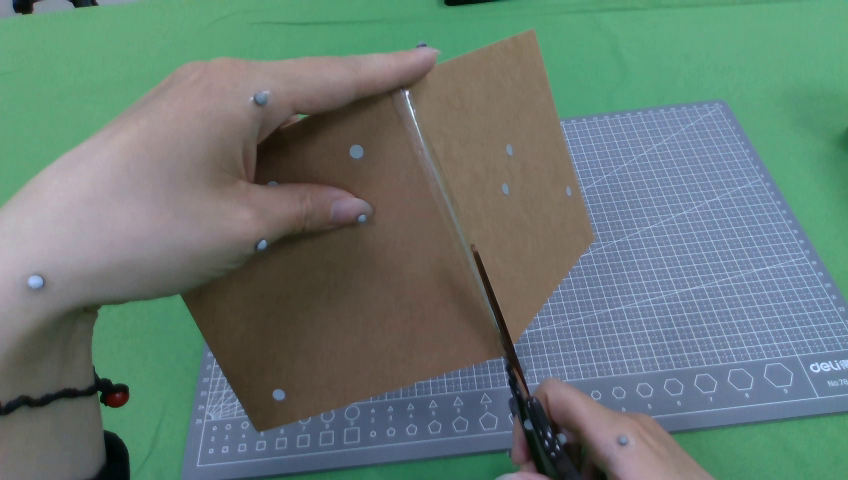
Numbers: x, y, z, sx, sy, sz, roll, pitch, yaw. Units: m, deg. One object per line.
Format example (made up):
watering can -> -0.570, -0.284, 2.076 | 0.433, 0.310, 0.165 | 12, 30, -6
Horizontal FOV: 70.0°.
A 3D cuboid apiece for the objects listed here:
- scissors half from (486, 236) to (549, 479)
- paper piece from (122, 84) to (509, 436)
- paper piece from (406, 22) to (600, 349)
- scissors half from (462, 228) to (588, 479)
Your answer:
scissors half -> 0.046, 0.066, 0.304 | 0.013, 0.177, 0.039 | -20, 40, -5
paper piece -> -0.049, 0.017, 0.280 | 0.138, 0.136, 0.008 | -20, 12, 10
paper piece -> 0.053, -0.036, 0.317 | 0.004, 0.136, 0.135 | -7, 21, 40
scissors half -> 0.051, 0.071, 0.278 | 0.013, 0.040, 0.174 | -20, 80, -9
